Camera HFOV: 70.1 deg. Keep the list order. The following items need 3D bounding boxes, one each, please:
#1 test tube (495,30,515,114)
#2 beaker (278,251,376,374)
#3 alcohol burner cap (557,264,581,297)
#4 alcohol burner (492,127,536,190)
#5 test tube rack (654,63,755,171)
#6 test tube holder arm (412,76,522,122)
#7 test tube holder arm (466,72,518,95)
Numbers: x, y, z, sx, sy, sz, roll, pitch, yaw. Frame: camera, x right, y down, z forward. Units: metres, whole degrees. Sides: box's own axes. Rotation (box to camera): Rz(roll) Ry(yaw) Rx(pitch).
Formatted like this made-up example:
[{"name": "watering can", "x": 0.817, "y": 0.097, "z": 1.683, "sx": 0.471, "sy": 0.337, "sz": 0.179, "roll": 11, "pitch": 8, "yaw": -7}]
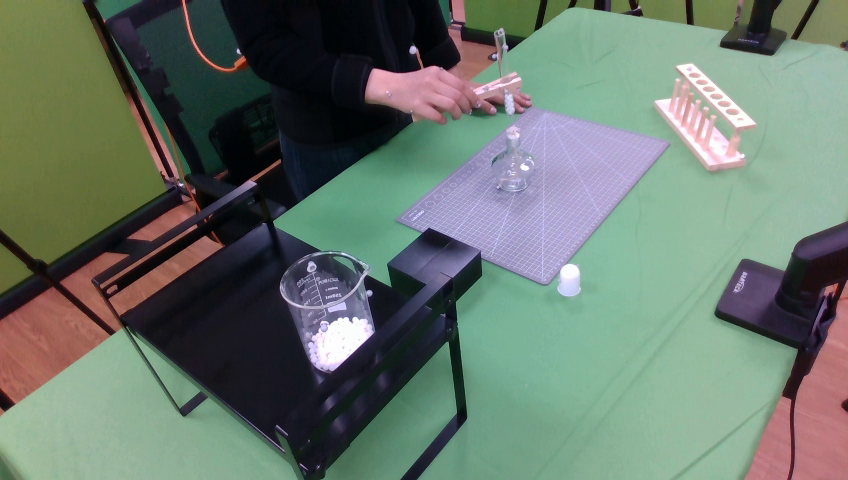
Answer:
[{"name": "test tube", "x": 0.126, "y": -0.255, "z": 0.933, "sx": 0.017, "sy": 0.151, "sz": 0.017, "roll": -8, "pitch": 50, "yaw": 10}, {"name": "beaker", "x": -0.084, "y": 0.070, "z": 0.570, "sx": 0.084, "sy": 0.101, "sz": 0.073, "roll": -18, "pitch": 42, "yaw": -13}, {"name": "alcohol burner cap", "x": 0.208, "y": 0.055, "z": 0.866, "sx": 0.034, "sy": 0.048, "sz": 0.033, "roll": -4, "pitch": 41, "yaw": 4}, {"name": "alcohol burner", "x": 0.156, "y": -0.146, "z": 1.046, "sx": 0.078, "sy": 0.119, "sz": 0.077, "roll": -4, "pitch": 43, "yaw": 4}, {"name": "test tube rack", "x": 0.510, "y": -0.233, "z": 1.120, "sx": 0.067, "sy": 0.085, "sz": 0.241, "roll": -8, "pitch": 41, "yaw": -1}, {"name": "test tube holder arm", "x": 0.067, "y": -0.219, "z": 0.938, "sx": 0.178, "sy": 0.015, "sz": 0.013, "roll": -20, "pitch": 44, "yaw": -3}, {"name": "test tube holder arm", "x": 0.107, "y": -0.239, "z": 0.946, "sx": 0.088, "sy": 0.015, "sz": 0.010, "roll": -25, "pitch": 45, "yaw": -8}]
